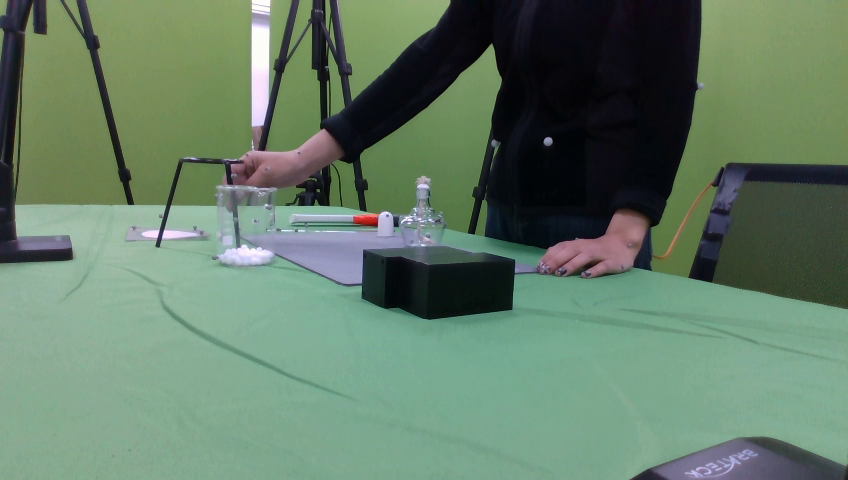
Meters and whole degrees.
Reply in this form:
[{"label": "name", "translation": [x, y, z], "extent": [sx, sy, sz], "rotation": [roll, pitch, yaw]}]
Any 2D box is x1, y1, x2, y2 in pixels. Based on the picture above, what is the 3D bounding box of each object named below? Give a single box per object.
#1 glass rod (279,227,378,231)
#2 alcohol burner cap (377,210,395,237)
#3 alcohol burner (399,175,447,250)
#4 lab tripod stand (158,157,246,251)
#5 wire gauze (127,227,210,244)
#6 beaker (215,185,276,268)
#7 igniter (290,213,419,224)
[{"label": "glass rod", "translation": [-0.175, -0.021, 1.161], "extent": [0.200, 0.008, 0.008], "rotation": [0, 7, -15]}, {"label": "alcohol burner cap", "translation": [-0.069, -0.031, 1.112], "extent": [0.034, 0.048, 0.034], "rotation": [2, 8, 0]}, {"label": "alcohol burner", "translation": [-0.002, -0.044, 0.961], "extent": [0.078, 0.119, 0.078], "rotation": [0, 8, 0]}, {"label": "lab tripod stand", "translation": [-0.314, -0.055, 0.890], "extent": [0.148, 0.131, 0.148], "rotation": [2, 9, 0]}, {"label": "wire gauze", "translation": [-0.420, -0.010, 0.998], "extent": [0.122, 0.011, 0.124], "rotation": [-2, 10, -24]}, {"label": "beaker", "translation": [-0.226, -0.019, 0.773], "extent": [0.074, 0.100, 0.084], "rotation": [5, 6, 14]}, {"label": "igniter", "translation": [-0.144, -0.046, 1.288], "extent": [0.278, 0.025, 0.057], "rotation": [-1, -3, -24]}]
